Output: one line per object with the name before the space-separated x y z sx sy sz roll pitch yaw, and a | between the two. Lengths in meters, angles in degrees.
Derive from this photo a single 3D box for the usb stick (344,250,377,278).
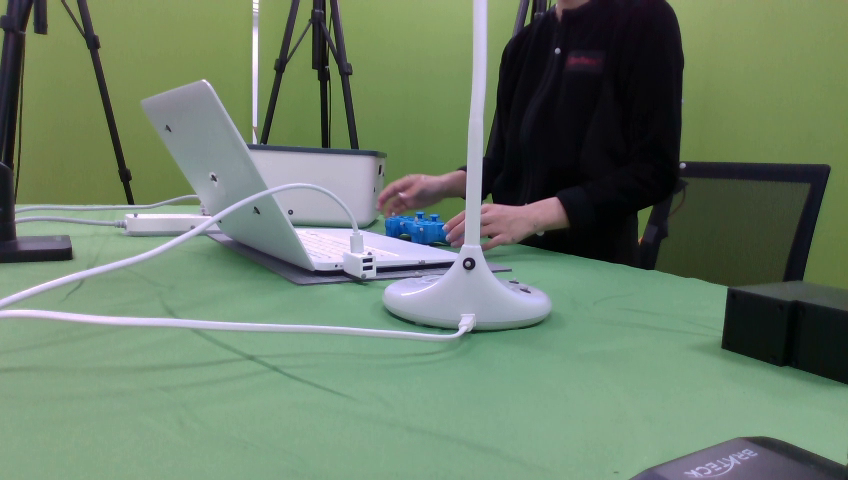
usb stick | -0.075 0.026 0.687 0.021 0.027 0.059 -8 8 -30

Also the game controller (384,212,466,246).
game controller | -0.003 -0.021 1.074 0.097 0.051 0.154 -5 10 -32

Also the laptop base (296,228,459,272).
laptop base | -0.122 0.011 0.889 0.237 0.023 0.352 2 6 -35

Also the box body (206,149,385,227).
box body | -0.276 -0.124 1.334 0.364 0.160 0.254 3 7 1

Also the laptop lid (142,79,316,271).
laptop lid | -0.265 -0.082 0.775 0.013 0.242 0.355 -37 28 -25

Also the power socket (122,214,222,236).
power socket | -0.398 -0.028 1.049 0.228 0.032 0.072 -3 8 -34

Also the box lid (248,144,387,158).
box lid | -0.275 -0.197 1.326 0.372 0.015 0.263 4 8 1

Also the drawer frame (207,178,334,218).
drawer frame | -0.327 -0.093 1.328 0.213 0.082 0.202 -1 5 7

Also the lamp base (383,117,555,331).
lamp base | 0.045 -0.019 0.547 0.161 0.180 0.179 2 10 -4

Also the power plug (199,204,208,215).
power plug | -0.387 -0.055 1.089 0.035 0.052 0.072 -1 7 -22
